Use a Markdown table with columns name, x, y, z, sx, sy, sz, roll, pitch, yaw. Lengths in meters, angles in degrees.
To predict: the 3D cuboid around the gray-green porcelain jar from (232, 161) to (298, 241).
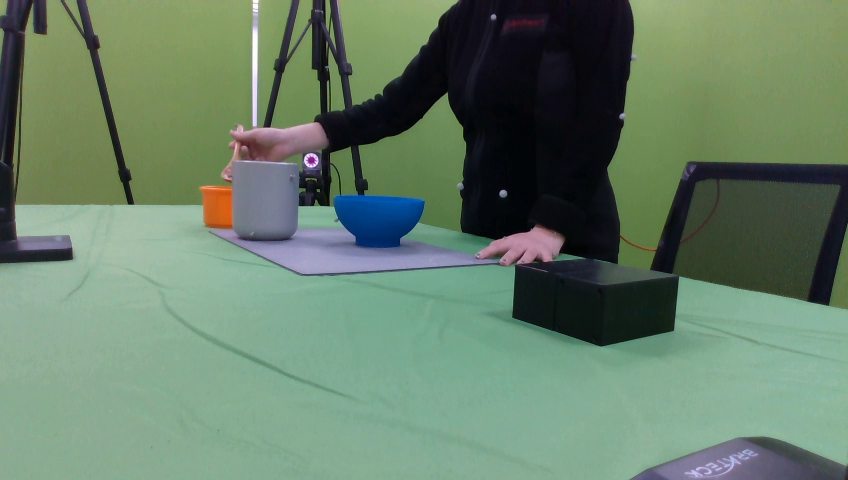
| name | x | y | z | sx | sy | sz | roll | pitch | yaw |
| --- | --- | --- | --- | --- | --- | --- | --- | --- | --- |
| gray-green porcelain jar | -0.262 | -0.065 | 0.999 | 0.106 | 0.126 | 0.106 | 3 | 7 | 0 |

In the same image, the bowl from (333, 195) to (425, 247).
| name | x | y | z | sx | sy | sz | roll | pitch | yaw |
| --- | --- | --- | --- | --- | --- | --- | --- | --- | --- |
| bowl | -0.074 | -0.031 | 0.987 | 0.151 | 0.077 | 0.151 | 2 | 7 | 0 |

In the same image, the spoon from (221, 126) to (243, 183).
| name | x | y | z | sx | sy | sz | roll | pitch | yaw |
| --- | --- | --- | --- | --- | --- | --- | --- | --- | --- |
| spoon | -0.375 | -0.174 | 1.210 | 0.042 | 0.021 | 0.193 | 5 | 46 | -13 |
